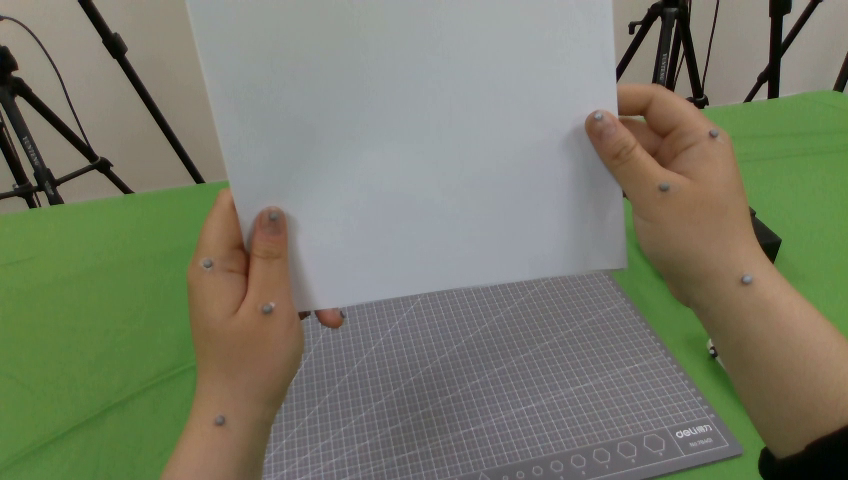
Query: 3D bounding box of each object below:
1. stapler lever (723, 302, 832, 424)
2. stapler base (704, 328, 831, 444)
[{"bbox_3d":[0.306,0.102,0.528,0.027,0.040,0.116,-12,39,-8],"label":"stapler lever"},{"bbox_3d":[0.306,0.121,0.545,0.041,0.024,0.129,-11,39,-8],"label":"stapler base"}]
